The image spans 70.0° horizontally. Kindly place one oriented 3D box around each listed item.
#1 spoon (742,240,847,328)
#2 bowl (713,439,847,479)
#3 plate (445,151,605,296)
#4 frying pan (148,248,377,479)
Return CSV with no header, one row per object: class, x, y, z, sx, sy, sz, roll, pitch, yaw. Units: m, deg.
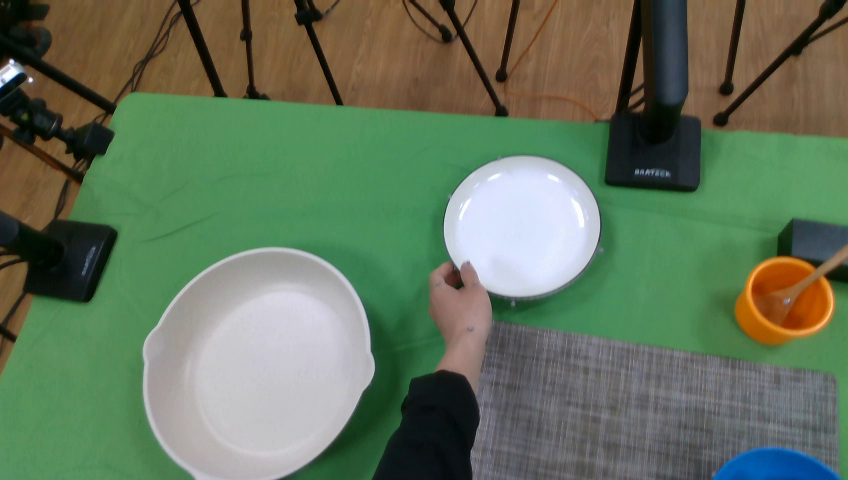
spoon,0.437,0.034,0.672,0.022,0.194,0.041,-4,52,-41
bowl,0.359,0.284,0.614,0.151,0.077,0.150,-4,67,9
plate,0.134,-0.020,0.809,0.207,0.039,0.206,-4,67,9
frying pan,-0.219,0.243,0.725,0.306,0.104,0.484,5,60,13
